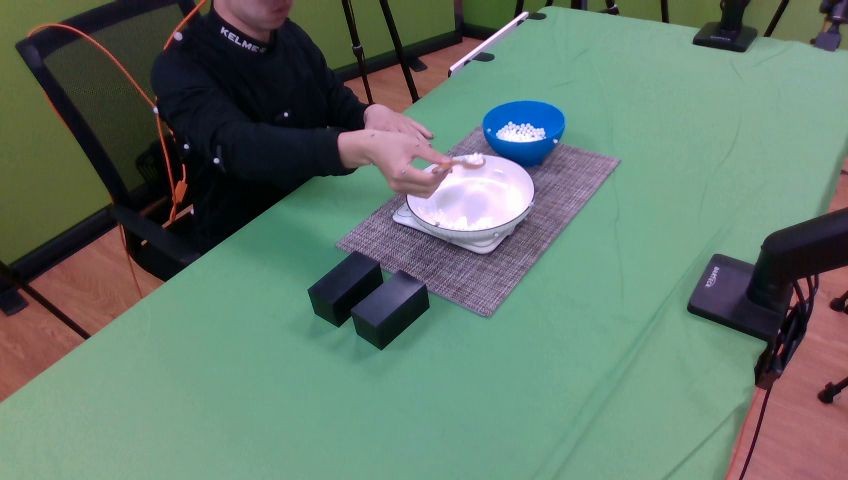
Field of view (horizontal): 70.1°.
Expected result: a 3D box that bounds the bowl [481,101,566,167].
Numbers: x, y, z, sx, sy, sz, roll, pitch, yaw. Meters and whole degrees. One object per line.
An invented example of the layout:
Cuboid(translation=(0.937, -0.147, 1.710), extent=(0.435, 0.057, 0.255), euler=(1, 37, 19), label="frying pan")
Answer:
Cuboid(translation=(0.182, -0.186, 1.111), extent=(0.151, 0.077, 0.150), euler=(-4, 40, 4), label="bowl")

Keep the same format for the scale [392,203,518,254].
Cuboid(translation=(0.061, -0.051, 1.006), extent=(0.199, 0.032, 0.149), euler=(22, 48, 30), label="scale")

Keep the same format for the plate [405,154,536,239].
Cuboid(translation=(0.075, -0.067, 0.973), extent=(0.209, 0.038, 0.208), euler=(-4, 41, 4), label="plate")

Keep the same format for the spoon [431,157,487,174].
Cuboid(translation=(0.050, -0.114, 0.914), extent=(0.041, 0.021, 0.195), euler=(4, 10, 24), label="spoon")
